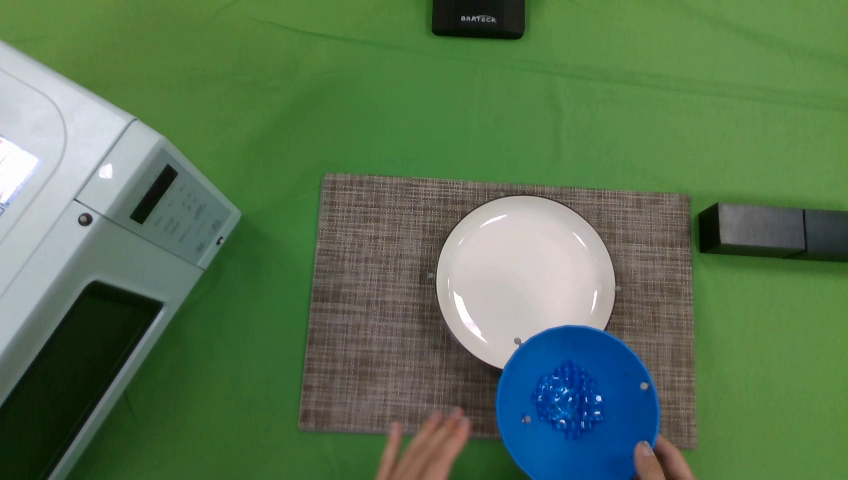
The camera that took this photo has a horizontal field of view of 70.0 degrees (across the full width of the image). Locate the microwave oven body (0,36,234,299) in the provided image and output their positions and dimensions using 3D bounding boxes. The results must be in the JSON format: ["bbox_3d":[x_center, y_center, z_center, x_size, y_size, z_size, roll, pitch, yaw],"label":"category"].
[{"bbox_3d":[-0.456,0.041,0.571,0.325,0.261,0.440,30,79,4],"label":"microwave oven body"}]

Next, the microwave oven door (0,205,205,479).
[{"bbox_3d":[-0.350,0.147,0.547,0.039,0.244,0.355,29,79,6],"label":"microwave oven door"}]

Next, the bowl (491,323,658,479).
[{"bbox_3d":[0.134,0.158,0.582,0.151,0.077,0.150,1,76,-3],"label":"bowl"}]

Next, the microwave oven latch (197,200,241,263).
[{"bbox_3d":[-0.241,-0.014,0.688,0.030,0.029,0.079,32,80,5],"label":"microwave oven latch"}]

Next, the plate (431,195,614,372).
[{"bbox_3d":[0.111,0.052,0.700,0.208,0.039,0.206,0,78,-2],"label":"plate"}]
